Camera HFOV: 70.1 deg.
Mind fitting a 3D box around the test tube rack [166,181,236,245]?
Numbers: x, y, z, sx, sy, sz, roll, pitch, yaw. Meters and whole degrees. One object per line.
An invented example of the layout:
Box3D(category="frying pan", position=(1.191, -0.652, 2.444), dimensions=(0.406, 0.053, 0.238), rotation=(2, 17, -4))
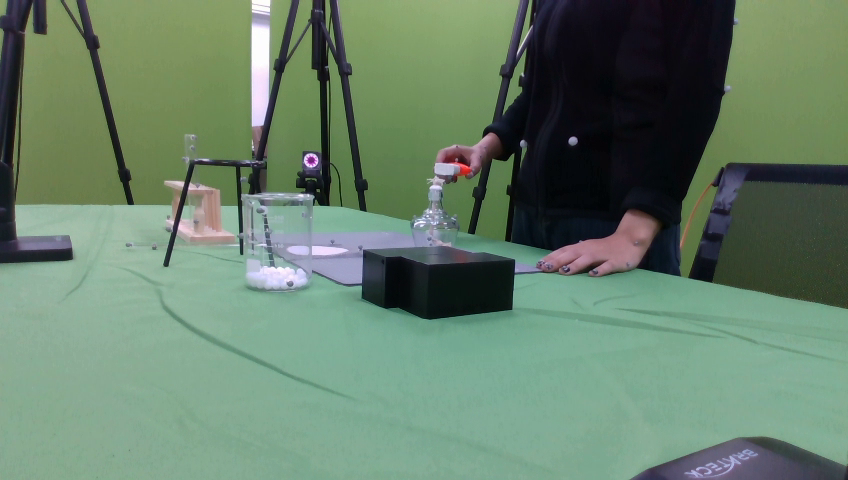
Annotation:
Box3D(category="test tube rack", position=(-0.383, -0.051, 1.024), dimensions=(0.067, 0.085, 0.241), rotation=(-2, 9, -31))

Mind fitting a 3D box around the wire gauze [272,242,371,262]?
Box3D(category="wire gauze", position=(-0.155, 0.013, 0.877), dimensions=(0.122, 0.011, 0.124), rotation=(-3, 10, -29))

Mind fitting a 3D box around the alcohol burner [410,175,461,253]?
Box3D(category="alcohol burner", position=(0.018, -0.040, 0.931), dimensions=(0.078, 0.119, 0.078), rotation=(0, 7, 0))

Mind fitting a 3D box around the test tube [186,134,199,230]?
Box3D(category="test tube", position=(-0.360, -0.089, 0.946), dimensions=(0.017, 0.150, 0.017), rotation=(0, 10, 0))

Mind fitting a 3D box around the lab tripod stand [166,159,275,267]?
Box3D(category="lab tripod stand", position=(-0.249, -0.036, 0.764), dimensions=(0.148, 0.131, 0.148), rotation=(2, 9, 0))

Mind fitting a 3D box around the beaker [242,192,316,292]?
Box3D(category="beaker", position=(-0.157, 0.000, 0.642), dimensions=(0.084, 0.100, 0.074), rotation=(4, 7, 19))

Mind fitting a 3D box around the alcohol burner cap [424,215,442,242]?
Box3D(category="alcohol burner cap", position=(0.017, -0.022, 1.098), dimensions=(0.034, 0.048, 0.034), rotation=(2, 8, 0))

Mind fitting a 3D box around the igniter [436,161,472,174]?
Box3D(category="igniter", position=(0.055, -0.129, 1.078), dimensions=(0.057, 0.025, 0.277), rotation=(7, 7, 8))

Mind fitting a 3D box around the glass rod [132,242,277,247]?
Box3D(category="glass rod", position=(-0.316, 0.007, 0.884), dimensions=(0.201, 0.008, 0.008), rotation=(0, 7, -27))
